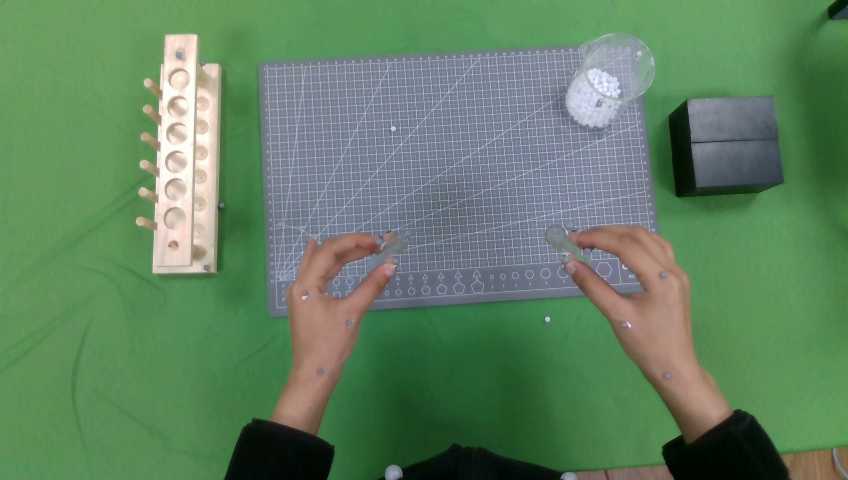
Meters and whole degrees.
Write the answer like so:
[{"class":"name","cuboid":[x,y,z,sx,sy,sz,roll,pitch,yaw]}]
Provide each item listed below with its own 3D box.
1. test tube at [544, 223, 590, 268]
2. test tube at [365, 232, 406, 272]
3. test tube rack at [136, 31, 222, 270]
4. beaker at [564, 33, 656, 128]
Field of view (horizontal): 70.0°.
[{"class":"test tube","cuboid":[0.120,0.007,0.495,0.017,0.151,0.017,-4,79,22]},{"class":"test tube","cuboid":[-0.038,0.013,0.548,0.017,0.150,0.017,2,80,-12]},{"class":"test tube rack","cuboid":[-0.267,-0.091,0.654,0.067,0.085,0.241,-1,83,-2]},{"class":"beaker","cuboid":[0.197,-0.173,0.671,0.084,0.100,0.074,34,82,4]}]
